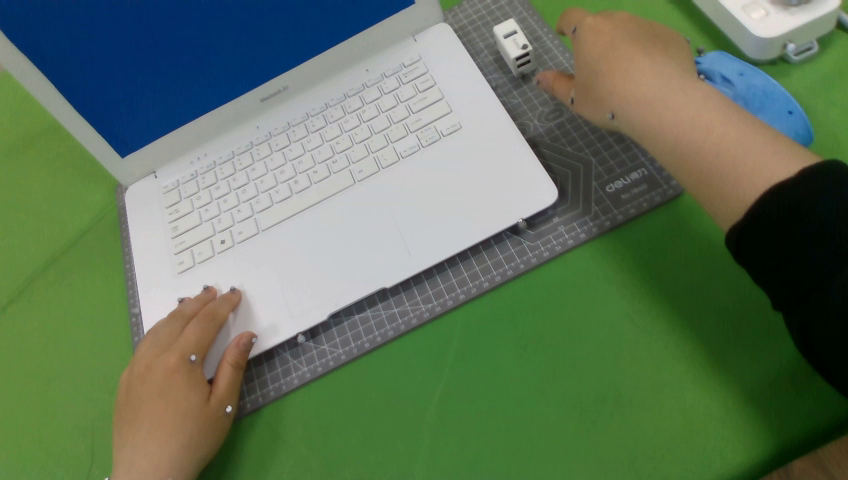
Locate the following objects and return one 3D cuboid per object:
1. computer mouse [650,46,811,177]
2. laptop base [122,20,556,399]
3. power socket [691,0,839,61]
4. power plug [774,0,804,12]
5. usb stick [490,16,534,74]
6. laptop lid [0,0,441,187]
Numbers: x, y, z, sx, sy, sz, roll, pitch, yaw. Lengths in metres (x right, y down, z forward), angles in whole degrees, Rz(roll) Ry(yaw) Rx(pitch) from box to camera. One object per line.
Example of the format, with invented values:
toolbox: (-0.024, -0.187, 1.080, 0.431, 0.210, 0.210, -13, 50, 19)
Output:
computer mouse: (0.220, -0.101, 0.444, 0.063, 0.041, 0.116, -27, 53, 4)
laptop base: (-0.094, -0.039, 0.527, 0.354, 0.023, 0.233, -27, 60, 2)
power socket: (0.251, -0.236, 0.511, 0.072, 0.033, 0.224, -25, 57, 5)
power plug: (0.295, -0.201, 0.452, 0.072, 0.053, 0.035, -16, 61, 8)
usb stick: (0.075, -0.178, 0.539, 0.021, 0.027, 0.058, -27, 55, 8)
laptop lid: (-0.179, -0.202, 0.507, 0.357, 0.244, 0.013, -28, 44, 3)
